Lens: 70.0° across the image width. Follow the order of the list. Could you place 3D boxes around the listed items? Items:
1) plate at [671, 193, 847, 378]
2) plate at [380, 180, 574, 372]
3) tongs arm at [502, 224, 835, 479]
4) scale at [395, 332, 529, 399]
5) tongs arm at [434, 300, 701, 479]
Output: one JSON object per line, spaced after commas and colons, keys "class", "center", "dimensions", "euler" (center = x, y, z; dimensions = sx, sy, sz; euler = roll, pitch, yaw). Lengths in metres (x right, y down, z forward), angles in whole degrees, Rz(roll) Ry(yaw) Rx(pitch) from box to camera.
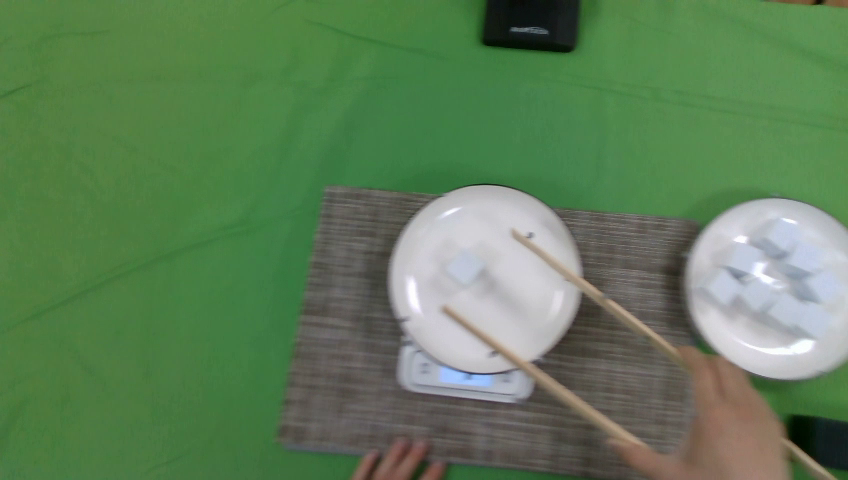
{"class": "plate", "center": [0.382, 0.051, 0.687], "dimensions": [0.208, 0.039, 0.206], "euler": [0, 78, 1]}
{"class": "plate", "center": [0.056, 0.038, 0.661], "dimensions": [0.209, 0.038, 0.208], "euler": [0, 78, 0]}
{"class": "tongs arm", "center": [0.206, 0.112, 0.545], "dimensions": [0.382, 0.027, 0.050], "euler": [38, 74, 22]}
{"class": "scale", "center": [0.049, 0.073, 0.687], "dimensions": [0.148, 0.032, 0.200], "euler": [6, 78, 2]}
{"class": "tongs arm", "center": [0.167, 0.155, 0.531], "dimensions": [0.385, 0.028, 0.028], "euler": [31, 68, 20]}
